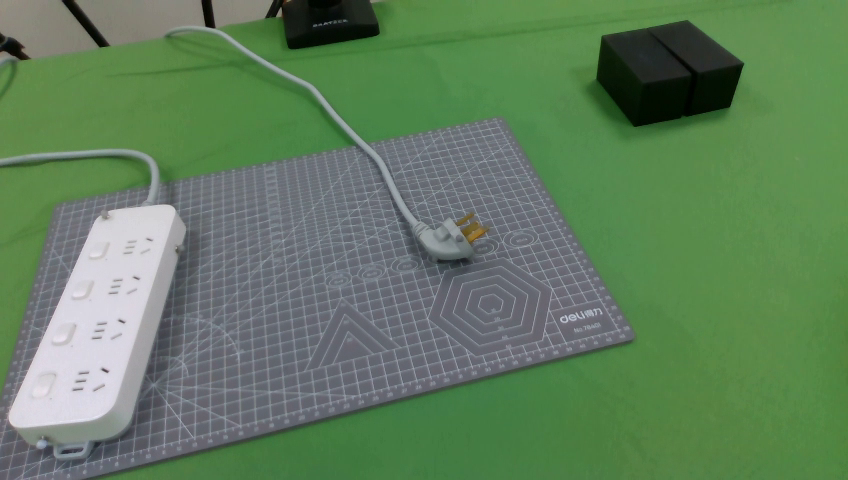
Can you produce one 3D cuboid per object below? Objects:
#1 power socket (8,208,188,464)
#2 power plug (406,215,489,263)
[{"bbox_3d":[-0.237,0.055,0.462,0.072,0.033,0.224,-5,45,-1],"label":"power socket"},{"bbox_3d":[0.017,-0.012,0.498,0.052,0.035,0.072,-32,61,-3],"label":"power plug"}]
